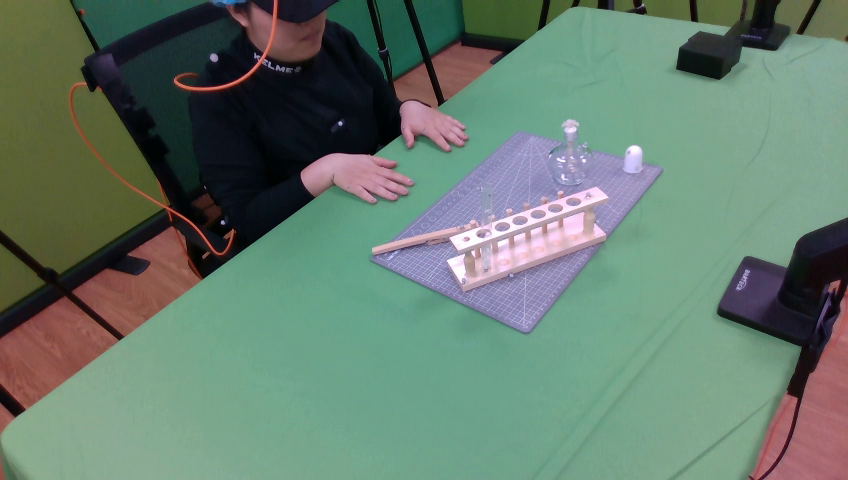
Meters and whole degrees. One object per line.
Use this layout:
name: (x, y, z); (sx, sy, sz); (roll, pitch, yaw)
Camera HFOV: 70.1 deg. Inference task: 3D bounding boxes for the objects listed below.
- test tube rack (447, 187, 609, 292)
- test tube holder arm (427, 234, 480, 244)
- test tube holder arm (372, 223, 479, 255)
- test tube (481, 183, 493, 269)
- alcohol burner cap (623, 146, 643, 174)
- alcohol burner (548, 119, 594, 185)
test tube rack: (0.154, -0.011, 0.913); (0.243, 0.085, 0.066); (-19, 41, -11)
test tube holder arm: (0.048, -0.006, 0.986); (0.088, 0.010, 0.015); (-7, 34, -5)
test tube holder arm: (0.003, -0.002, 0.980); (0.178, 0.013, 0.015); (-12, 34, -2)
test tube: (0.089, -0.016, 0.854); (0.017, 0.151, 0.017); (-2, 39, 2)
alcohol burner cap: (0.369, -0.142, 1.061); (0.034, 0.048, 0.033); (-6, 40, 6)
alcohol burner: (0.254, -0.155, 1.043); (0.078, 0.120, 0.077); (-7, 40, 6)
